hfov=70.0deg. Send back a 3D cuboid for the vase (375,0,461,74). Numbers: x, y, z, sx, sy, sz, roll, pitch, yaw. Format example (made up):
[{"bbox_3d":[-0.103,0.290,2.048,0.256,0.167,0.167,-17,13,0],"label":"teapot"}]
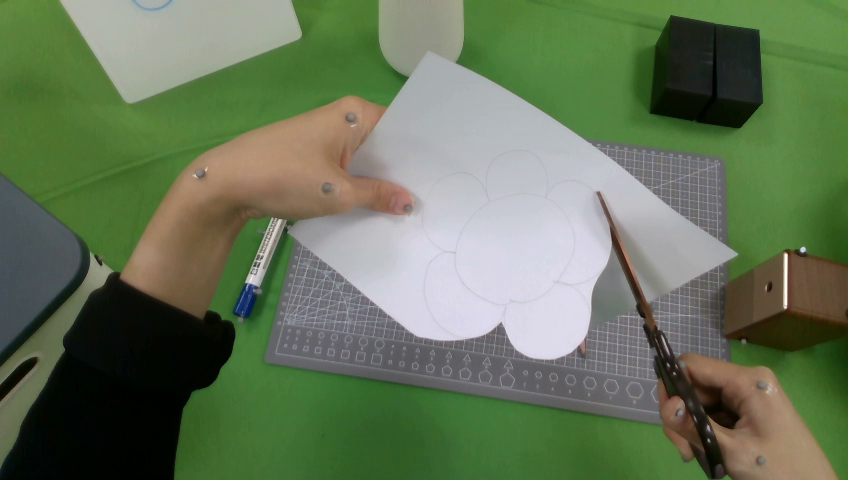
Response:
[{"bbox_3d":[-0.007,-0.266,0.630,0.098,0.201,0.097,0,68,0],"label":"vase"}]

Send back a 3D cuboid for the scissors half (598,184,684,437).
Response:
[{"bbox_3d":[0.134,0.045,0.366,0.013,0.040,0.176,-21,109,10],"label":"scissors half"}]

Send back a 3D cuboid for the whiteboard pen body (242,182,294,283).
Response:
[{"bbox_3d":[-0.163,0.002,0.622,0.017,0.017,0.140,15,68,5],"label":"whiteboard pen body"}]

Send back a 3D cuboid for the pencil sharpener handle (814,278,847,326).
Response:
[{"bbox_3d":[0.390,0.060,0.553,0.030,0.068,0.035,12,63,1],"label":"pencil sharpener handle"}]

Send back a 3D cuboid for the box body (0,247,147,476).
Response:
[{"bbox_3d":[-0.469,0.033,0.529,0.362,0.161,0.253,34,73,11],"label":"box body"}]

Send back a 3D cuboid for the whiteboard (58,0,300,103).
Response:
[{"bbox_3d":[-0.293,-0.341,0.629,0.217,0.308,0.142,-25,52,-9],"label":"whiteboard"}]

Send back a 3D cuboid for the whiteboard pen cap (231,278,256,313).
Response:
[{"bbox_3d":[-0.177,0.054,0.601,0.018,0.018,0.033,14,65,5],"label":"whiteboard pen cap"}]

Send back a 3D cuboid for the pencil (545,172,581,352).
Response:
[{"bbox_3d":[0.145,0.019,0.625,0.012,0.012,0.192,-5,71,-2],"label":"pencil"}]

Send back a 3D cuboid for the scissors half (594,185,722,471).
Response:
[{"bbox_3d":[0.132,0.049,0.345,0.013,0.040,0.175,-22,85,5],"label":"scissors half"}]

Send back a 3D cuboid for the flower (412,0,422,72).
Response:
[{"bbox_3d":[-0.012,-0.309,0.557,0.044,0.365,0.038,2,51,3],"label":"flower"}]

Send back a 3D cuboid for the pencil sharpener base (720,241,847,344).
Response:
[{"bbox_3d":[0.339,0.052,0.565,0.077,0.107,0.061,12,69,1],"label":"pencil sharpener base"}]

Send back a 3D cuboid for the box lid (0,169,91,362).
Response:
[{"bbox_3d":[-0.470,0.005,0.460,0.370,0.015,0.262,34,72,11],"label":"box lid"}]
